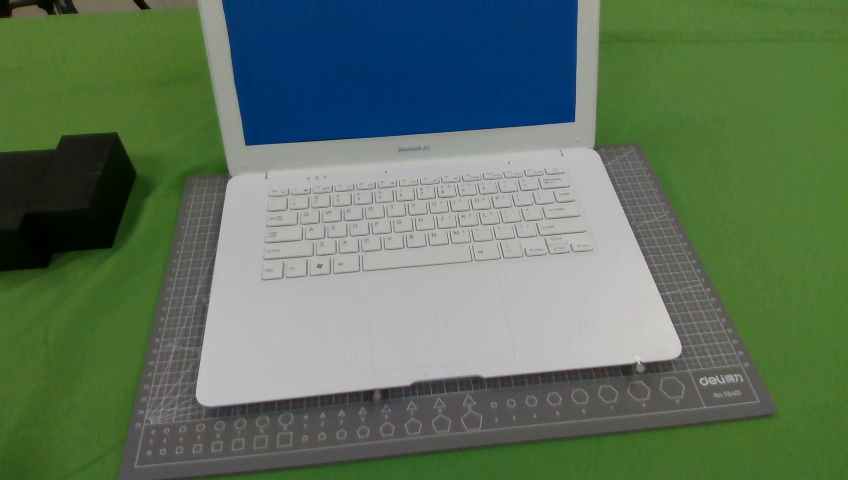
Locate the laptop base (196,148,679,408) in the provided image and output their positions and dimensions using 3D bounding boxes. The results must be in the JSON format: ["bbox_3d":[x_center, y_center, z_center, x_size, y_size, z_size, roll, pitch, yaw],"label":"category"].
[{"bbox_3d":[0.003,0.018,0.509,0.355,0.023,0.233,-5,52,-4],"label":"laptop base"}]

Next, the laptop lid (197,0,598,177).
[{"bbox_3d":[-0.016,-0.179,0.544,0.357,0.243,0.013,-6,20,-4],"label":"laptop lid"}]
